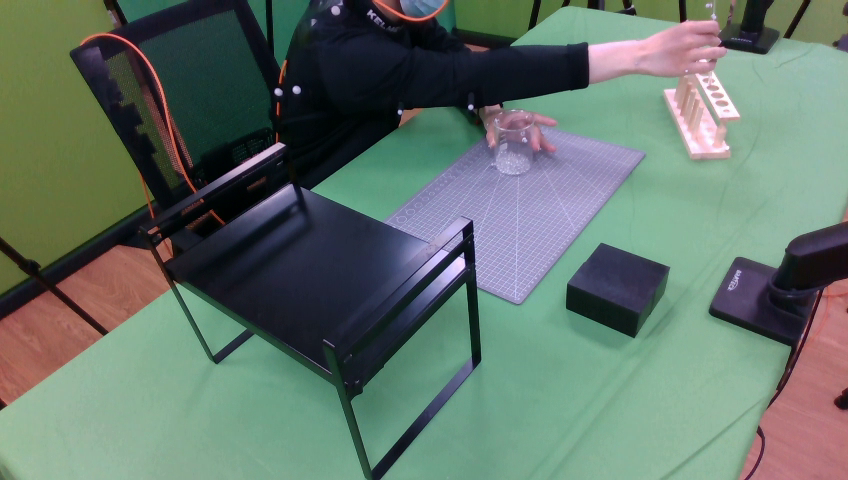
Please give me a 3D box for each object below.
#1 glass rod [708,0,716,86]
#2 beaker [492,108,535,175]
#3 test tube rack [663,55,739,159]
[{"bbox_3d":[0.489,-0.339,1.029,0.008,0.201,0.008,-11,51,15],"label":"glass rod"},{"bbox_3d":[0.164,-0.176,1.088,0.084,0.101,0.073,-35,48,-27],"label":"beaker"},{"bbox_3d":[0.518,-0.256,1.144,0.066,0.085,0.241,-1,41,8],"label":"test tube rack"}]
